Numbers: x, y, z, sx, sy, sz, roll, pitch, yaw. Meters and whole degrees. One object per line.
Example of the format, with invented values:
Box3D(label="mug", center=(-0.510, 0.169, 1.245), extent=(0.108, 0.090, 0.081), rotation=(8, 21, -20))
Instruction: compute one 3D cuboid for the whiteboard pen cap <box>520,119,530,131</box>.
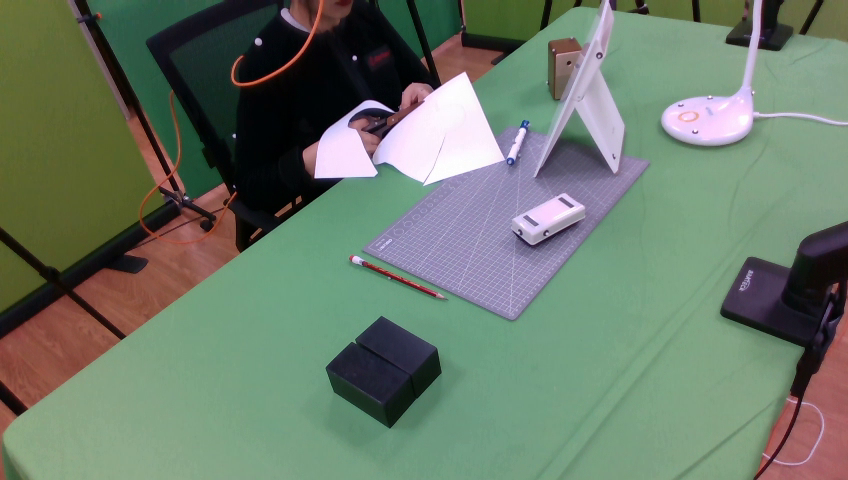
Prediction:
Box3D(label="whiteboard pen cap", center=(0.199, -0.226, 1.204), extent=(0.018, 0.018, 0.033), rotation=(7, 41, 18))

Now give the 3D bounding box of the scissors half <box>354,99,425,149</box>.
Box3D(label="scissors half", center=(-0.070, -0.239, 1.241), extent=(0.175, 0.040, 0.012), rotation=(-33, 26, 19))

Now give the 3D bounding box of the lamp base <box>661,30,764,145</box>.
Box3D(label="lamp base", center=(0.535, -0.287, 1.096), extent=(0.179, 0.181, 0.159), rotation=(-10, 40, -4))

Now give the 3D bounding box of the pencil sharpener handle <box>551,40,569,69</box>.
Box3D(label="pencil sharpener handle", center=(0.291, -0.409, 1.320), extent=(0.036, 0.068, 0.030), rotation=(2, 40, -6))

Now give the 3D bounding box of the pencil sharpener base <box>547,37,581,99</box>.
Box3D(label="pencil sharpener base", center=(0.299, -0.368, 1.290), extent=(0.061, 0.107, 0.076), rotation=(-8, 40, 2))

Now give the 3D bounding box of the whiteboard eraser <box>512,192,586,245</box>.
Box3D(label="whiteboard eraser", center=(0.199, -0.032, 0.962), extent=(0.113, 0.042, 0.055), rotation=(-27, 43, -20))

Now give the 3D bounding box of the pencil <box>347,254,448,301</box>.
Box3D(label="pencil", center=(-0.044, 0.058, 0.933), extent=(0.192, 0.012, 0.012), rotation=(22, 49, 28))

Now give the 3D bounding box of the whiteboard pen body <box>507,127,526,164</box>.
Box3D(label="whiteboard pen body", center=(0.181, -0.189, 1.162), extent=(0.017, 0.017, 0.140), rotation=(7, 42, 19))

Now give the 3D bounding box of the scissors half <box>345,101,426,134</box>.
Box3D(label="scissors half", center=(-0.079, -0.255, 1.231), extent=(0.175, 0.040, 0.013), rotation=(-14, 35, 8))

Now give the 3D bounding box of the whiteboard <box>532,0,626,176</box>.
Box3D(label="whiteboard", center=(0.320, -0.258, 1.050), extent=(0.144, 0.306, 0.217), rotation=(21, 45, 5))
